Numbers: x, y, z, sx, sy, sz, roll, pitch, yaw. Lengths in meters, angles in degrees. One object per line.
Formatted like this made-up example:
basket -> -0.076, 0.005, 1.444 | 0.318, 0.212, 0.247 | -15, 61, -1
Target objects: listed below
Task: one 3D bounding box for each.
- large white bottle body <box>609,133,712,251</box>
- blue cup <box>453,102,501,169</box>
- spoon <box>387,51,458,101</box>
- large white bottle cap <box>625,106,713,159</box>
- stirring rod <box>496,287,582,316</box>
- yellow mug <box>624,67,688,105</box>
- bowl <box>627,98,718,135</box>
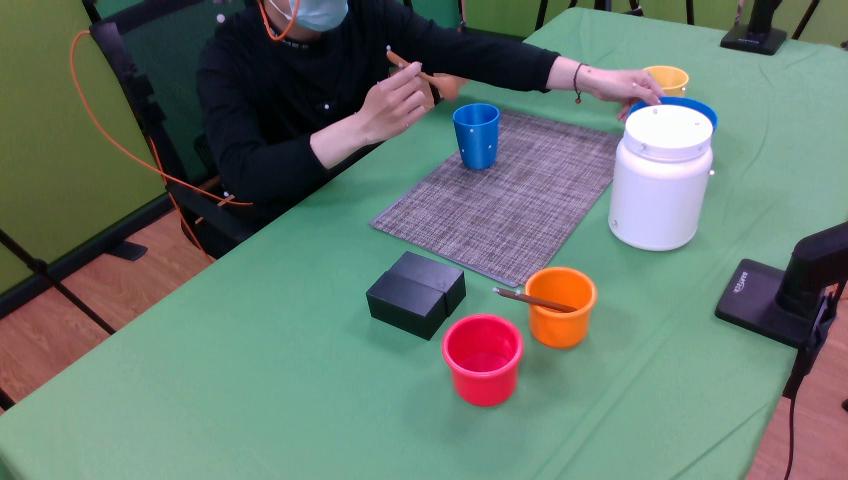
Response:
large white bottle body -> 0.351, -0.090, 0.904 | 0.130, 0.185, 0.130 | -5, 41, 4
blue cup -> 0.099, -0.188, 1.114 | 0.092, 0.100, 0.092 | -4, 39, 3
spoon -> 0.002, -0.272, 1.001 | 0.021, 0.041, 0.195 | 11, 1, 41
large white bottle cap -> 0.342, -0.153, 0.848 | 0.115, 0.018, 0.114 | -4, 41, 4
stirring rod -> 0.150, 0.080, 0.773 | 0.178, 0.006, 0.014 | 17, 21, -42
yellow mug -> 0.464, -0.306, 1.230 | 0.100, 0.064, 0.129 | -34, 46, -27
bowl -> 0.439, -0.187, 1.087 | 0.151, 0.077, 0.150 | -4, 40, 4
